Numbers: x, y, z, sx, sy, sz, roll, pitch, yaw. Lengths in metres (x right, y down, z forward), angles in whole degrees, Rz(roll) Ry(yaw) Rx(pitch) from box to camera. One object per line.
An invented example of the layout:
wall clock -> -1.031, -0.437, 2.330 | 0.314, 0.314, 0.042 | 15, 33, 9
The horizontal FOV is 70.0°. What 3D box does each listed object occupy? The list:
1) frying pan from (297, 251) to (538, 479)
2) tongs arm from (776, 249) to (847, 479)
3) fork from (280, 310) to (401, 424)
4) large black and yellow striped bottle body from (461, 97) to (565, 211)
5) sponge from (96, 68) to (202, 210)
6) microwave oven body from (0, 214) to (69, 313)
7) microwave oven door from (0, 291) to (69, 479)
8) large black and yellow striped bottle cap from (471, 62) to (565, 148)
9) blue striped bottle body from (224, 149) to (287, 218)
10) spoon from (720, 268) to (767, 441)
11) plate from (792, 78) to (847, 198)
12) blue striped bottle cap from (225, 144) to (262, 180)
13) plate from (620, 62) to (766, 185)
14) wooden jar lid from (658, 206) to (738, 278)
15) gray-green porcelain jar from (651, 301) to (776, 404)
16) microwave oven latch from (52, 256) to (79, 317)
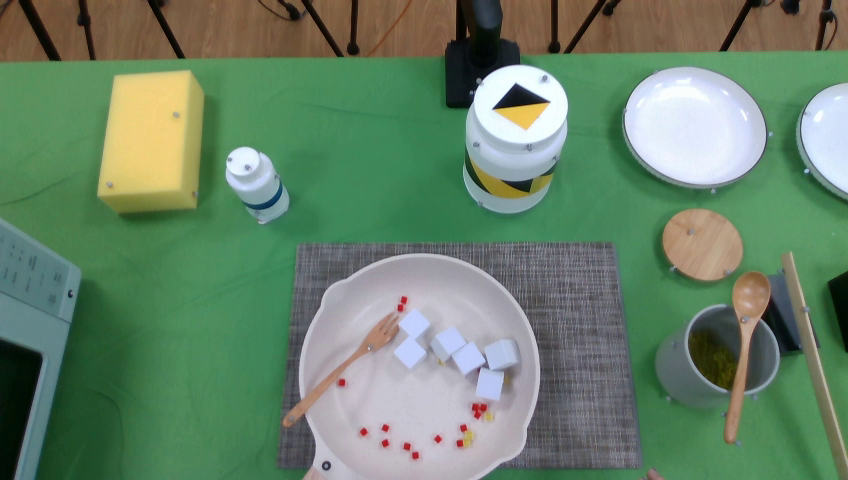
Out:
frying pan -> -0.075, 0.227, 0.719 | 0.305, 0.103, 0.487 | 39, 66, 16
tongs arm -> 0.493, 0.195, 0.722 | 0.051, 0.026, 0.383 | -7, 80, -5
fork -> -0.101, 0.155, 0.757 | 0.028, 0.019, 0.207 | 42, 50, 10
large black and yellow striped bottle body -> 0.116, -0.133, 0.818 | 0.131, 0.185, 0.130 | 0, 68, 1
sponge -> -0.403, -0.151, 0.901 | 0.118, 0.061, 0.205 | -5, 69, -1
microwave oven body -> -0.640, 0.189, 0.660 | 0.326, 0.262, 0.438 | 0, 69, 1
microwave oven door -> -0.495, 0.227, 0.637 | 0.039, 0.245, 0.353 | 0, 68, 2
large black and yellow striped bottle cap -> 0.115, -0.166, 0.740 | 0.115, 0.019, 0.114 | 0, 70, 1
blue striped bottle body -> -0.234, -0.082, 0.838 | 0.063, 0.121, 0.062 | 0, 68, 2
spoon -> 0.346, 0.123, 0.667 | 0.041, 0.022, 0.193 | 17, 73, 4
plate -> 0.645, -0.143, 0.888 | 0.209, 0.038, 0.207 | 0, 68, 1
blue striped bottle cap -> -0.236, -0.102, 0.791 | 0.044, 0.021, 0.044 | 0, 70, 1
plate -> 0.396, -0.171, 0.906 | 0.207, 0.039, 0.206 | 0, 68, 1
wooden jar lid -> 0.381, 0.004, 0.847 | 0.108, 0.021, 0.107 | 0, 70, 2
gray-green porcelain jar -> 0.342, 0.141, 0.736 | 0.106, 0.127, 0.105 | 0, 68, 1
microwave oven latch -> -0.487, 0.062, 0.811 | 0.030, 0.030, 0.078 | 3, 69, 2
